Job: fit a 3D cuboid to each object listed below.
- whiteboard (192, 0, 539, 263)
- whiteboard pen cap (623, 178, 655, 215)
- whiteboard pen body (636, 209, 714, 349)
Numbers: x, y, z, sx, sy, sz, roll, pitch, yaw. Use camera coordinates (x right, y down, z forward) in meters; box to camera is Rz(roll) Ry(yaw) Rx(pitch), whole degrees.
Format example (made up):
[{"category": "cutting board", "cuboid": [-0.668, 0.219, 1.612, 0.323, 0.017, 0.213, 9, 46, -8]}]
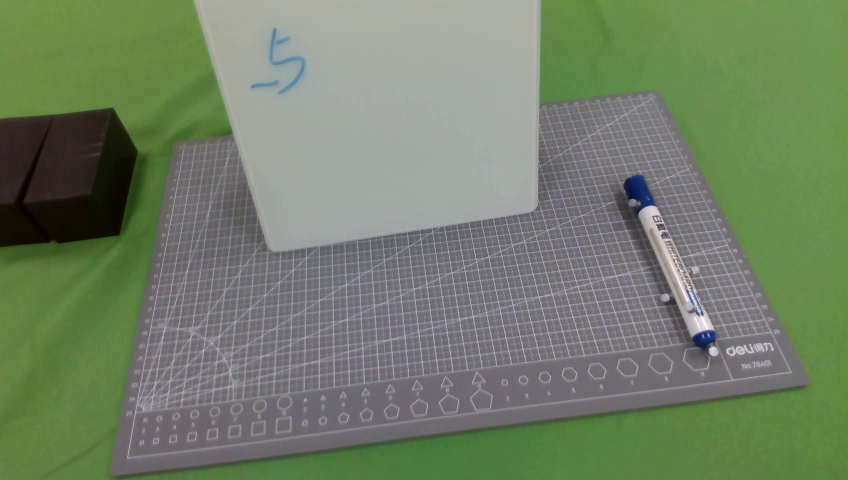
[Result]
[{"category": "whiteboard", "cuboid": [-0.037, -0.162, 0.449, 0.217, 0.308, 0.142, -8, 33, -3]}, {"category": "whiteboard pen cap", "cuboid": [0.170, -0.032, 0.479, 0.018, 0.018, 0.033, -7, 56, -3]}, {"category": "whiteboard pen body", "cuboid": [0.178, 0.015, 0.444, 0.017, 0.017, 0.139, -8, 55, -3]}]
